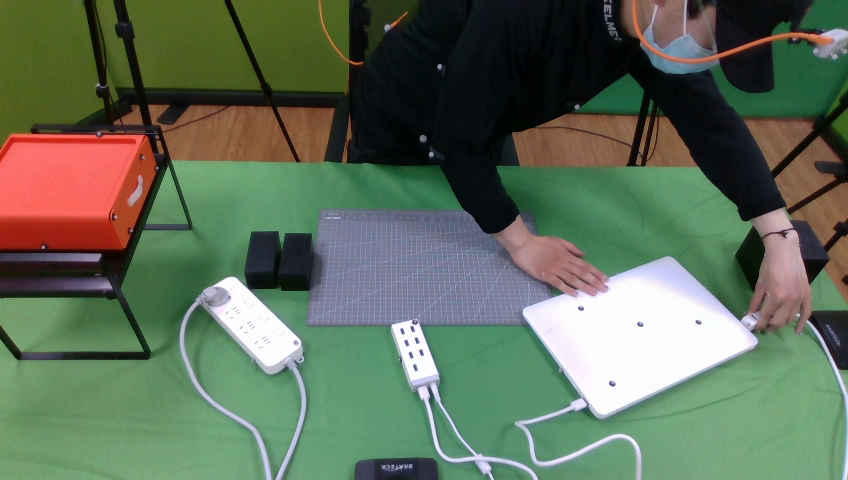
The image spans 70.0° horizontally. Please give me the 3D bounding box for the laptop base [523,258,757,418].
[{"bbox_3d":[0.380,0.160,1.078,0.355,0.023,0.234,-17,46,-20],"label":"laptop base"}]

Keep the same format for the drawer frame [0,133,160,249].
[{"bbox_3d":[-0.552,-0.078,0.942,0.214,0.083,0.200,-1,47,-4],"label":"drawer frame"}]

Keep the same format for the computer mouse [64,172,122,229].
[{"bbox_3d":[-0.521,-0.067,0.954,0.063,0.041,0.116,1,49,-9],"label":"computer mouse"}]

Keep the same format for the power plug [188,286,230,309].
[{"bbox_3d":[-0.369,0.104,1.039,0.072,0.053,0.035,-26,54,-23],"label":"power plug"}]

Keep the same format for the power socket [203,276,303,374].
[{"bbox_3d":[-0.296,0.142,1.034,0.225,0.033,0.072,37,55,27],"label":"power socket"}]

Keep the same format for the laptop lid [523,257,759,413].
[{"bbox_3d":[0.380,0.150,1.071,0.357,0.013,0.240,-16,46,-19],"label":"laptop lid"}]

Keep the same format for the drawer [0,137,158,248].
[{"bbox_3d":[-0.549,-0.079,0.943,0.212,0.073,0.193,0,47,-4],"label":"drawer"}]

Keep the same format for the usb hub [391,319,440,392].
[{"bbox_3d":[-0.015,0.191,1.013,0.049,0.025,0.124,-11,48,-15],"label":"usb hub"}]

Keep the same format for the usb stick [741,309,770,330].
[{"bbox_3d":[0.589,0.146,1.088,0.059,0.027,0.021,-18,52,-15],"label":"usb stick"}]
